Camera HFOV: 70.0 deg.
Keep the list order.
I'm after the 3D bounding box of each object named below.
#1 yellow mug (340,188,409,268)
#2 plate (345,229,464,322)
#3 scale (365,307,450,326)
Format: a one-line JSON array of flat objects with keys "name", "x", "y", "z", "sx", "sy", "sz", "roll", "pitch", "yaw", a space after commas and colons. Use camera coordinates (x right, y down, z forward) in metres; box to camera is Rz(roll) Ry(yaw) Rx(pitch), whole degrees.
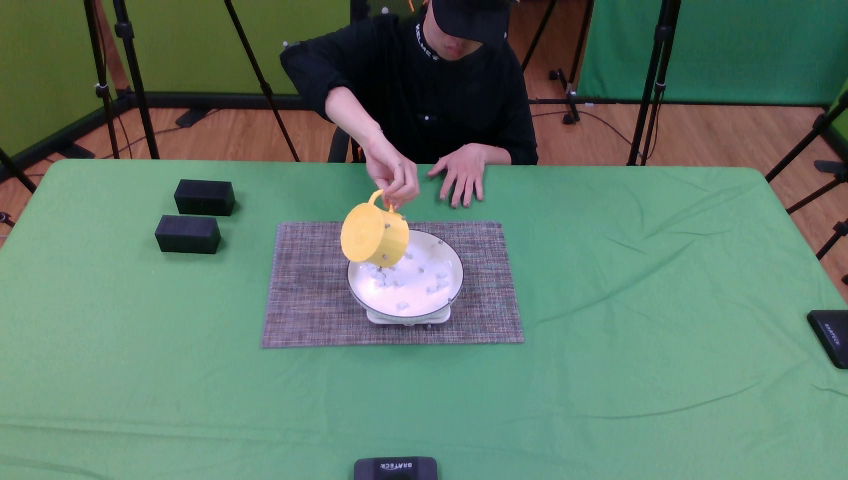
[{"name": "yellow mug", "x": -0.080, "y": -0.022, "z": 1.010, "sx": 0.099, "sy": 0.130, "sz": 0.064, "roll": 11, "pitch": -3, "yaw": 42}, {"name": "plate", "x": -0.034, "y": 0.065, "z": 1.073, "sx": 0.209, "sy": 0.038, "sz": 0.208, "roll": 2, "pitch": 46, "yaw": -2}, {"name": "scale", "x": -0.032, "y": 0.071, "z": 1.113, "sx": 0.149, "sy": 0.032, "sz": 0.199, "roll": 0, "pitch": 46, "yaw": -4}]
